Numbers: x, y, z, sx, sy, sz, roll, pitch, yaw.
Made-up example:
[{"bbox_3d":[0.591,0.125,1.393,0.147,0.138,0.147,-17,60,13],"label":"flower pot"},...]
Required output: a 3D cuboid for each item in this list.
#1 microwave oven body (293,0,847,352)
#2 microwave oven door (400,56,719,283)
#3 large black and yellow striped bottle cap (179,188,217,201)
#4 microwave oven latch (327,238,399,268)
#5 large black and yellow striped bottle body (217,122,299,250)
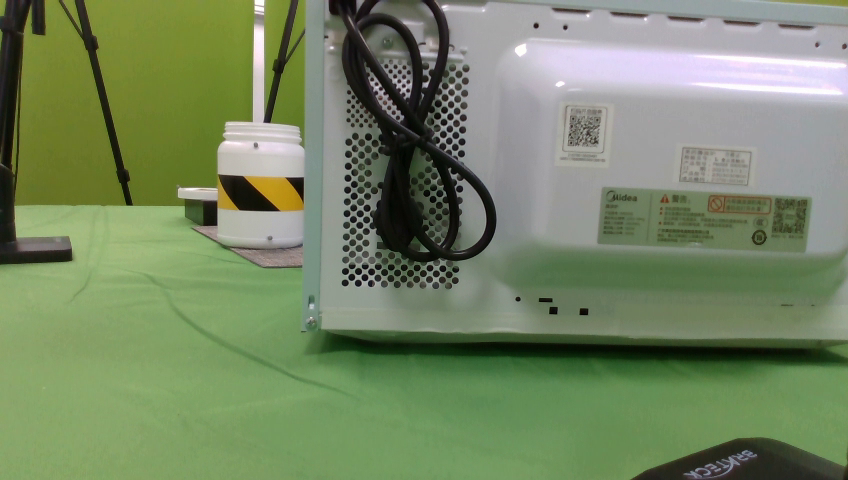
[{"bbox_3d":[0.122,-0.055,0.550,0.442,0.260,0.325,3,7,-5],"label":"microwave oven body"},{"bbox_3d":[0.155,-0.077,0.698,0.356,0.243,0.039,2,8,-5],"label":"microwave oven door"},{"bbox_3d":[-0.434,-0.093,1.226,0.115,0.019,0.115,3,9,0],"label":"large black and yellow striped bottle cap"},{"bbox_3d":[-0.069,0.015,0.694,0.079,0.029,0.030,3,7,-3],"label":"microwave oven latch"},{"bbox_3d":[-0.250,-0.084,0.931,0.131,0.184,0.130,3,7,0],"label":"large black and yellow striped bottle body"}]
